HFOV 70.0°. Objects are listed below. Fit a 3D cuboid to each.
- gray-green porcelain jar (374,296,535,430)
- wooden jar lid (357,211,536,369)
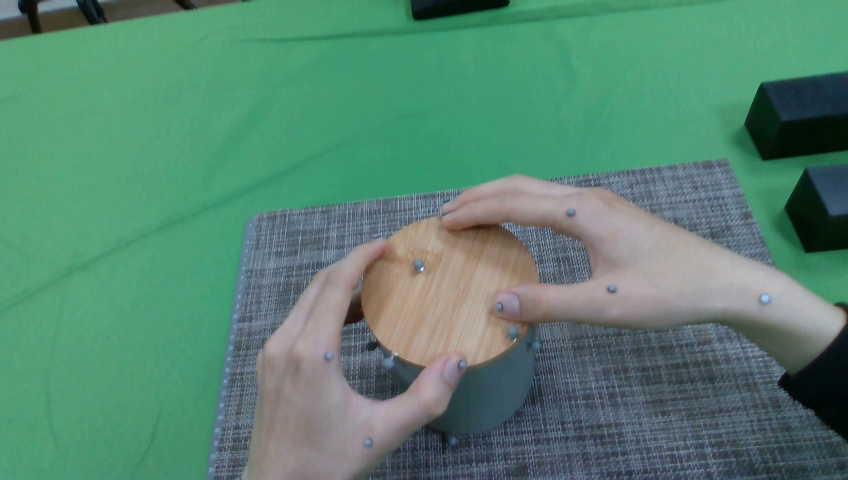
[{"bbox_3d":[0.022,0.067,0.420,0.106,0.128,0.105,-4,54,5],"label":"gray-green porcelain jar"},{"bbox_3d":[0.014,0.030,0.371,0.108,0.021,0.107,-3,57,5],"label":"wooden jar lid"}]
